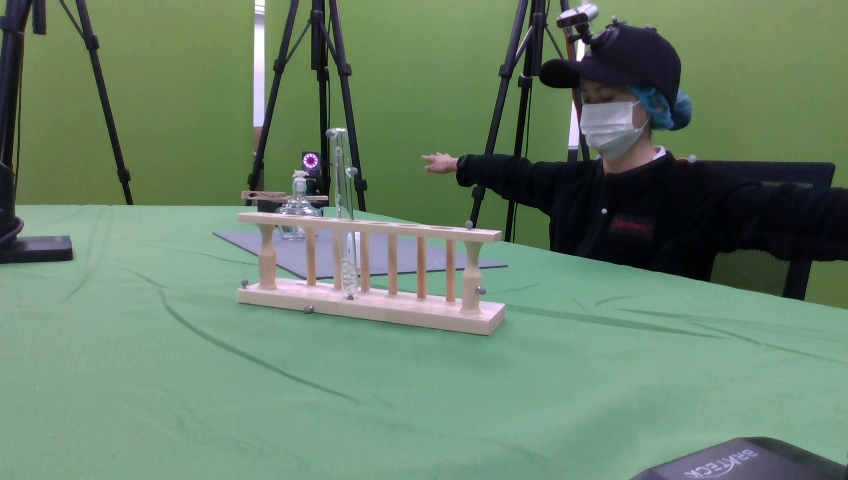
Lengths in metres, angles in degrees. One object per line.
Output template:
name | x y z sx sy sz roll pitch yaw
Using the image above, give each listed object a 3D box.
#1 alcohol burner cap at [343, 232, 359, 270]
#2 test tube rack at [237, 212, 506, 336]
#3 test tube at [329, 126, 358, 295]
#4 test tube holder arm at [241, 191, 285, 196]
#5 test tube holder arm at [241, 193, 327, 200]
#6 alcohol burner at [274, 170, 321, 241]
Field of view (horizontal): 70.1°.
alcohol burner cap | -0.087 0.013 0.776 0.034 0.048 0.034 3 7 0
test tube rack | -0.049 0.024 0.552 0.242 0.085 0.067 5 8 19
test tube | -0.071 -0.025 0.535 0.017 0.150 0.017 -3 8 1
test tube holder arm | -0.328 -0.095 1.238 0.088 0.010 0.015 -2 7 -29
test tube holder arm | -0.289 -0.091 1.261 0.179 0.013 0.015 -3 7 -29
alcohol burner | -0.212 -0.058 1.015 0.078 0.119 0.078 4 5 0
